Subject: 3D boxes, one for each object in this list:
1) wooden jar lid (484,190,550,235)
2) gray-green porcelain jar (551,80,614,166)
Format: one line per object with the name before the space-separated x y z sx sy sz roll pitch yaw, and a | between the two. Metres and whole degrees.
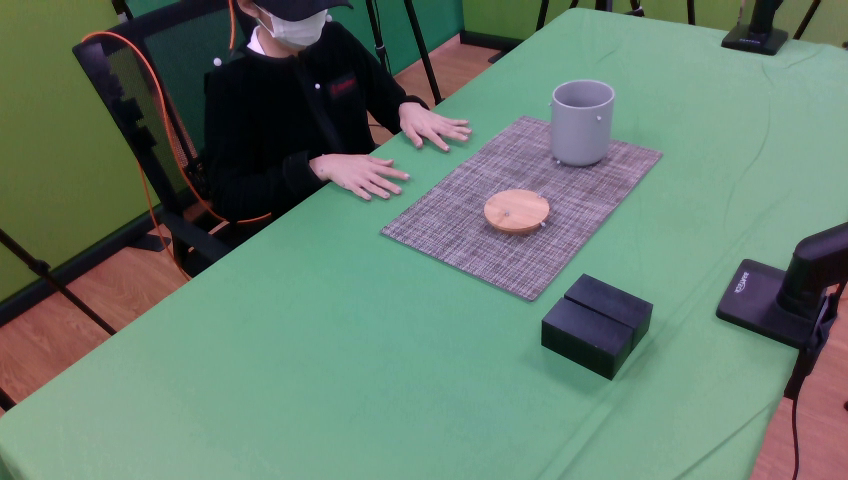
wooden jar lid | 0.154 -0.045 1.001 0.108 0.021 0.108 -3 40 3
gray-green porcelain jar | 0.282 -0.205 1.086 0.106 0.127 0.105 -4 40 4
